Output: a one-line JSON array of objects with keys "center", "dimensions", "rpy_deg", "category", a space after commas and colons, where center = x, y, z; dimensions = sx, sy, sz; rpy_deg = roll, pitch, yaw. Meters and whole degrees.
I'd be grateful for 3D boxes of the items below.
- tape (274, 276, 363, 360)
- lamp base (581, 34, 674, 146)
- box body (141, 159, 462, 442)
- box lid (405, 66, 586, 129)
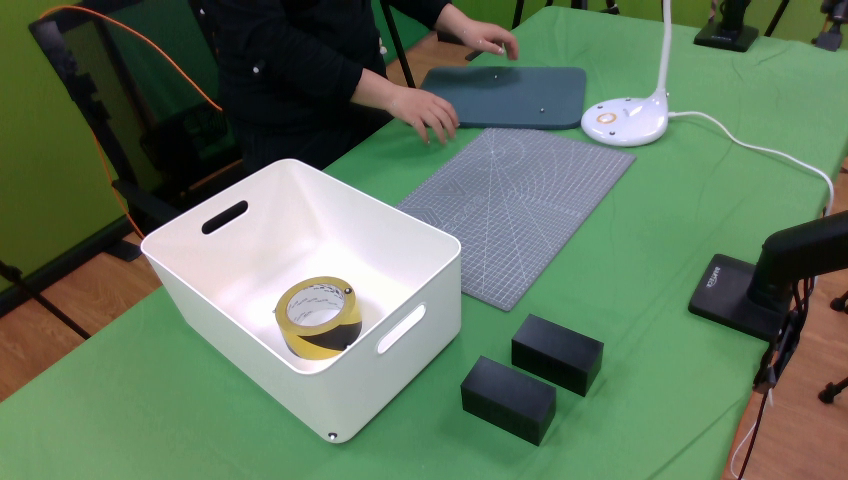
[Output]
[{"center": [-0.144, 0.106, 0.833], "dimensions": [0.117, 0.053, 0.116], "rpy_deg": [-4, 41, 4], "category": "tape"}, {"center": [0.392, -0.291, 1.129], "dimensions": [0.180, 0.181, 0.159], "rpy_deg": [-11, 41, -8], "category": "lamp base"}, {"center": [-0.153, 0.063, 0.809], "dimensions": [0.361, 0.161, 0.255], "rpy_deg": [27, 51, 33], "category": "box body"}, {"center": [0.163, -0.317, 1.322], "dimensions": [0.370, 0.015, 0.263], "rpy_deg": [5, 42, 14], "category": "box lid"}]
